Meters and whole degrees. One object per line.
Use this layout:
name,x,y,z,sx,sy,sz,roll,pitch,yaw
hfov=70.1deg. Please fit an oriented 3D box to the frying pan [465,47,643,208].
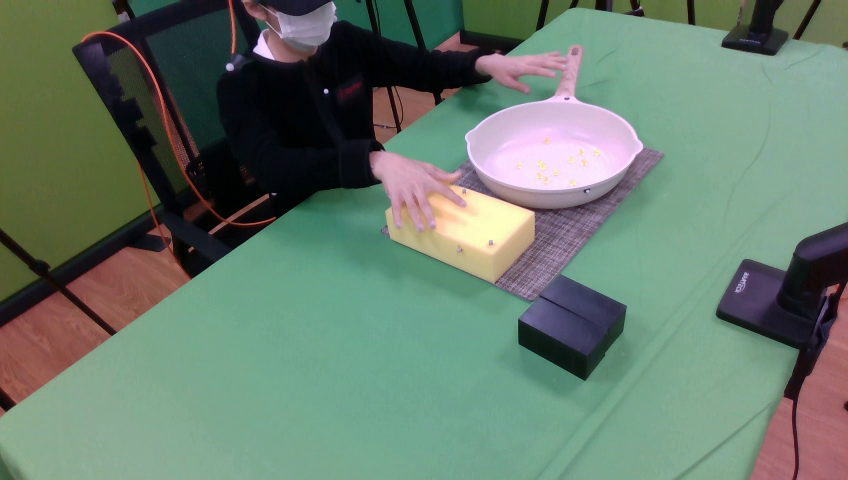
frying pan,0.255,-0.228,1.135,0.305,0.103,0.487,9,51,17

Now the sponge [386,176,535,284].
sponge,0.057,-0.021,0.957,0.205,0.061,0.118,22,49,31
